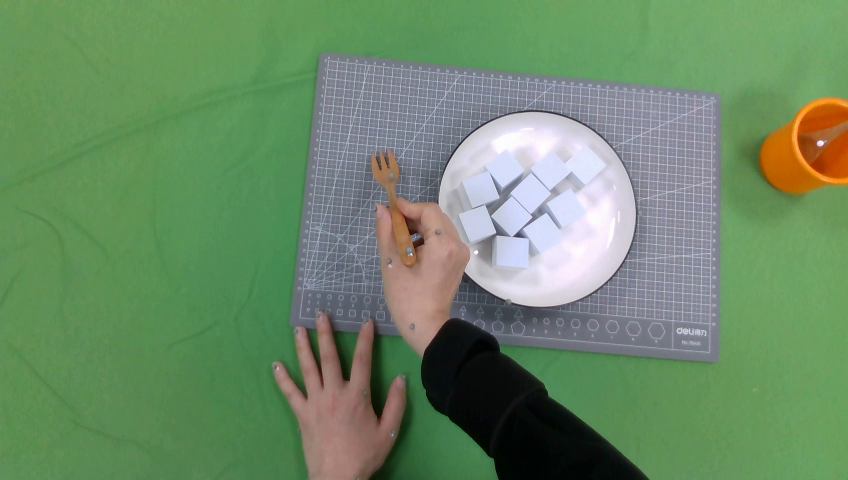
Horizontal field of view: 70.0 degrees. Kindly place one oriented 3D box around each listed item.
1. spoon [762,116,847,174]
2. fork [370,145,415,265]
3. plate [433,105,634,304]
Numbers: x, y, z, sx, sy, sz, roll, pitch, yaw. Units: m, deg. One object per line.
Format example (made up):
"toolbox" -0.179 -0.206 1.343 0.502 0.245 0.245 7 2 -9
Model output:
"spoon" 0.442 -0.126 0.614 0.022 0.194 0.041 -13 73 -49
"fork" -0.030 -0.040 0.571 0.028 0.205 0.019 -12 123 -4
"plate" 0.111 -0.036 0.634 0.208 0.039 0.207 1 82 -3
